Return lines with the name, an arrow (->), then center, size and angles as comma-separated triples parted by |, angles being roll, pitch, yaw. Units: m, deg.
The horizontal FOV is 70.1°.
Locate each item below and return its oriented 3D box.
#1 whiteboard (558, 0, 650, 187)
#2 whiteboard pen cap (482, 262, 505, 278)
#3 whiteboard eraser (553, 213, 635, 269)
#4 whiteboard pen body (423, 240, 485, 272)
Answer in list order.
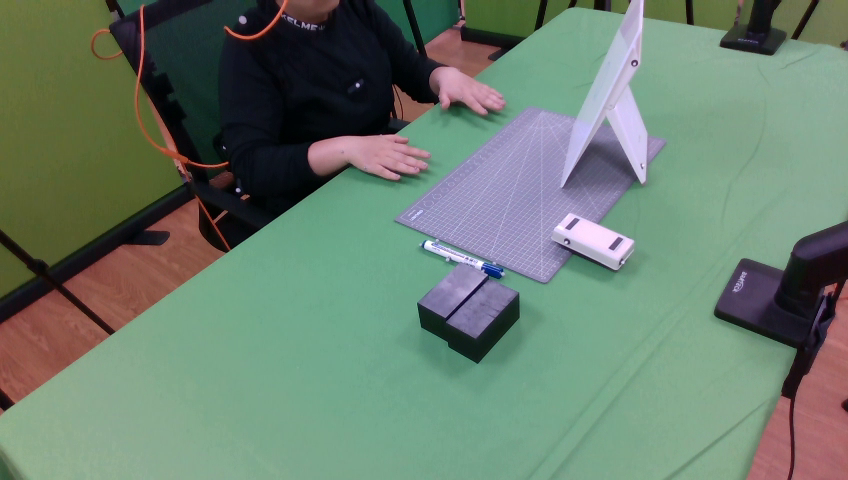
whiteboard -> 0.361, -0.238, 1.026 | 0.144, 0.306, 0.217 | 21, 44, 4
whiteboard pen cap -> 0.104, 0.044, 0.912 | 0.033, 0.018, 0.018 | 22, 49, 29
whiteboard eraser -> 0.257, 0.003, 0.918 | 0.112, 0.042, 0.056 | 27, 49, 30
whiteboard pen body -> 0.057, 0.027, 0.942 | 0.139, 0.017, 0.017 | 21, 48, 30
